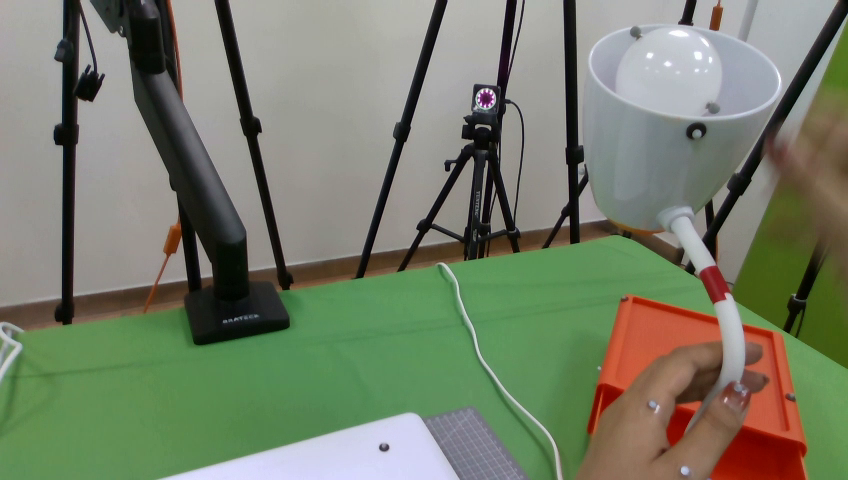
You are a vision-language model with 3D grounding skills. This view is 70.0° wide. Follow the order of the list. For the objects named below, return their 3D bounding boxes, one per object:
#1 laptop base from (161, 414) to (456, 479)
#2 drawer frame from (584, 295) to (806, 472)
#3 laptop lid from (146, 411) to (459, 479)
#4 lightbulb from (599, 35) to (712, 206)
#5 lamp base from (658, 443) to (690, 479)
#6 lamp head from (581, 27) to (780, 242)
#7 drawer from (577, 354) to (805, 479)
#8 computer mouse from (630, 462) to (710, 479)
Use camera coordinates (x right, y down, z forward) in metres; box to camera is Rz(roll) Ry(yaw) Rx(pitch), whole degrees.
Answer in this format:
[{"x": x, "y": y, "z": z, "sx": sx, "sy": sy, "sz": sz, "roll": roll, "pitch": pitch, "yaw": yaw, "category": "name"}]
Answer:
[{"x": -0.120, "y": 0.263, "z": 0.487, "sx": 0.356, "sy": 0.023, "sz": 0.233, "roll": -8, "pitch": 32, "yaw": -26, "category": "laptop base"}, {"x": 0.306, "y": 0.165, "z": 0.703, "sx": 0.201, "sy": 0.083, "sz": 0.213, "roll": 13, "pitch": 26, "yaw": 18, "category": "drawer frame"}, {"x": -0.118, "y": 0.254, "z": 0.480, "sx": 0.358, "sy": 0.013, "sz": 0.239, "roll": -7, "pitch": 30, "yaw": -24, "category": "laptop lid"}, {"x": 0.136, "y": -0.071, "z": 0.375, "sx": 0.059, "sy": 0.108, "sz": 0.059, "roll": 11, "pitch": 27, "yaw": -5, "category": "lightbulb"}, {"x": 0.155, "y": 0.239, "z": 0.399, "sx": 0.161, "sy": 0.181, "sz": 0.178, "roll": 5, "pitch": 23, "yaw": -2, "category": "lamp base"}, {"x": 0.156, "y": -0.060, "z": 0.399, "sx": 0.112, "sy": 0.124, "sz": 0.111, "roll": -2, "pitch": 40, "yaw": 2, "category": "lamp head"}, {"x": 0.265, "y": 0.209, "z": 0.609, "sx": 0.193, "sy": 0.074, "sz": 0.211, "roll": 13, "pitch": 26, "yaw": 17, "category": "drawer"}, {"x": 0.247, "y": 0.246, "z": 0.561, "sx": 0.117, "sy": 0.041, "sz": 0.062, "roll": 14, "pitch": 26, "yaw": 10, "category": "computer mouse"}]
